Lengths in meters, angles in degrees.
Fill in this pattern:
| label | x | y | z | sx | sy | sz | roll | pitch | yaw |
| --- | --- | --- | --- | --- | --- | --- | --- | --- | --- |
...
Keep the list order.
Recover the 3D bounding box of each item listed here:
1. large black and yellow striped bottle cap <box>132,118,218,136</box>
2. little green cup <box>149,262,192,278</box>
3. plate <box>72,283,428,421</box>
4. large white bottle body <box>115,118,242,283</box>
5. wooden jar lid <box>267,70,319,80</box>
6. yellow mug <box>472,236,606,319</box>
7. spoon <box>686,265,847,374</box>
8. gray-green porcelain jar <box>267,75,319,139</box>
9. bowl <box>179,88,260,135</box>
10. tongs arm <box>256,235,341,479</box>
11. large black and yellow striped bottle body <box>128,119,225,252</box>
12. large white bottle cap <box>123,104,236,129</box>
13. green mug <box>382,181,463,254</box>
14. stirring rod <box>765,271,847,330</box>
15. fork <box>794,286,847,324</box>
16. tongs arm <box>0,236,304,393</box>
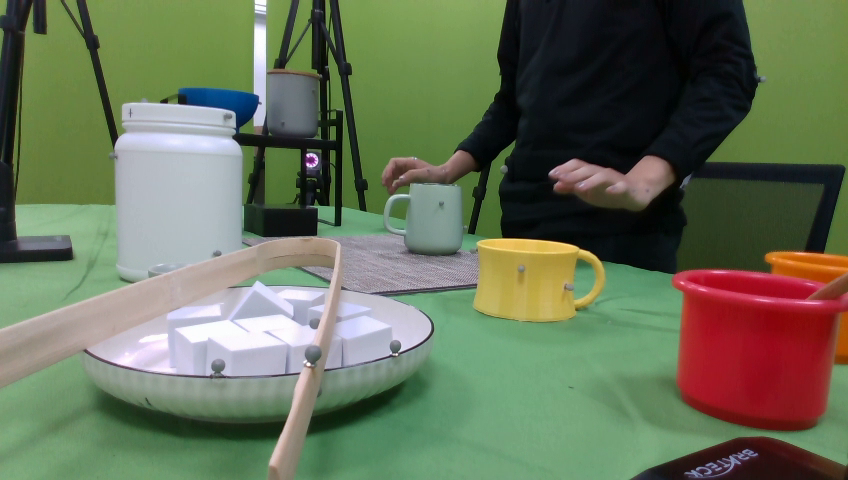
| label | x | y | z | sx | sy | sz | roll | pitch | yaw |
| --- | --- | --- | --- | --- | --- | --- | --- | --- | --- |
| large black and yellow striped bottle cap | -0.359 | -0.164 | 0.875 | 0.115 | 0.019 | 0.115 | 2 | 6 | 0 |
| little green cup | -0.207 | 0.043 | 0.531 | 0.061 | 0.038 | 0.061 | 3 | 6 | 0 |
| plate | -0.102 | 0.066 | 0.381 | 0.208 | 0.039 | 0.207 | 2 | 7 | 0 |
| large white bottle body | -0.270 | -0.051 | 0.673 | 0.131 | 0.184 | 0.130 | 2 | 8 | 0 |
| wooden jar lid | -0.275 | -0.339 | 1.271 | 0.108 | 0.020 | 0.108 | 5 | 6 | 0 |
| yellow mug | 0.114 | 0.034 | 0.590 | 0.131 | 0.064 | 0.100 | 2 | 6 | -7 |
| spoon | 0.214 | 0.032 | 0.327 | 0.042 | 0.021 | 0.193 | -2 | -35 | -26 |
| gray-green porcelain jar | -0.277 | -0.279 | 1.280 | 0.106 | 0.126 | 0.106 | 2 | 8 | 0 |
| bowl | -0.400 | -0.248 | 1.188 | 0.151 | 0.077 | 0.151 | 2 | 6 | 0 |
| tongs arm | -0.074 | 0.039 | 0.349 | 0.051 | 0.026 | 0.384 | -1 | 9 | -2 |
| large black and yellow striped bottle body | -0.361 | -0.081 | 0.887 | 0.131 | 0.184 | 0.130 | 2 | 8 | 0 |
| large white bottle cap | -0.266 | -0.134 | 0.663 | 0.115 | 0.018 | 0.115 | 3 | 7 | 0 |
| green mug | -0.001 | -0.036 | 0.922 | 0.126 | 0.105 | 0.092 | 0 | 8 | -16 |
| stirring rod | 0.352 | 0.020 | 0.481 | 0.176 | 0.006 | 0.014 | -40 | -8 | 17 |
| fork | 0.332 | 0.018 | 0.443 | 0.028 | 0.018 | 0.207 | -3 | -35 | -16 |
| tongs arm | -0.157 | 0.038 | 0.351 | 0.028 | 0.028 | 0.388 | -3 | 8 | 12 |
